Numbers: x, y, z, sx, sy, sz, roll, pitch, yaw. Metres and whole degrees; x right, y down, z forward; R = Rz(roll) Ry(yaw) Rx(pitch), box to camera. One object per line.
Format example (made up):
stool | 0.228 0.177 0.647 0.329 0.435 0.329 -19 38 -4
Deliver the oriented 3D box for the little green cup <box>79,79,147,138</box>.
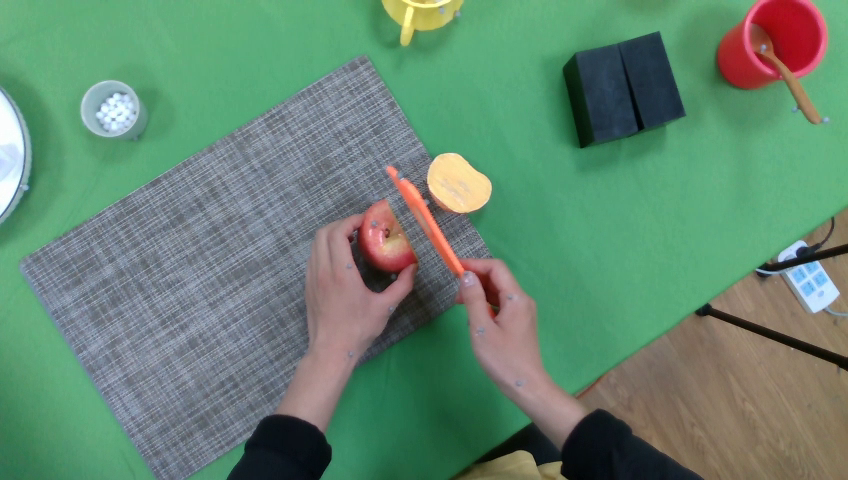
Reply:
little green cup | -0.339 -0.142 0.666 0.061 0.038 0.061 0 88 -4

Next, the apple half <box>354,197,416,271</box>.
apple half | -0.049 -0.001 0.661 0.053 0.074 0.081 -28 94 -1

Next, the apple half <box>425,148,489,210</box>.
apple half | 0.031 -0.061 0.685 0.082 0.033 0.080 11 58 -18

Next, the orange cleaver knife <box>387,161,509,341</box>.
orange cleaver knife | 0.024 0.013 0.602 0.012 0.076 0.213 -35 112 -4

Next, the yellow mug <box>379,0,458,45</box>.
yellow mug | -0.009 -0.283 0.678 0.100 0.064 0.130 16 88 -4

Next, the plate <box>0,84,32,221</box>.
plate | -0.526 -0.093 0.652 0.208 0.039 0.207 0 89 -4

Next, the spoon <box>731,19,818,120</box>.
spoon | 0.385 -0.191 0.665 0.041 0.022 0.192 2 44 -2
